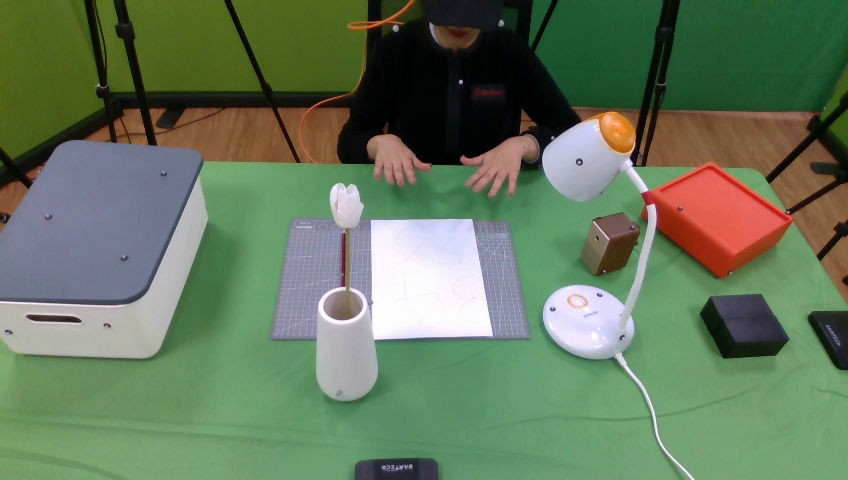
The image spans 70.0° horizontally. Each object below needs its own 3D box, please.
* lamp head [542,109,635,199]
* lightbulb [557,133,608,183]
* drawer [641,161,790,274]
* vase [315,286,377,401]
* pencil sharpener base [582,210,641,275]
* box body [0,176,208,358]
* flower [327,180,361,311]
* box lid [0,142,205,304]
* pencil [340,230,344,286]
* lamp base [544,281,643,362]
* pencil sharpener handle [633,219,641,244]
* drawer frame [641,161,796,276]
[{"bbox_3d":[0.253,-0.131,0.893,0.113,0.123,0.112,10,66,-24],"label":"lamp head"},{"bbox_3d":[0.243,-0.127,0.917,0.060,0.108,0.059,6,67,-14],"label":"lightbulb"},{"bbox_3d":[0.596,-0.051,1.246,0.194,0.073,0.210,-23,53,-25],"label":"drawer"},{"bbox_3d":[-0.119,0.159,0.911,0.098,0.201,0.097,2,47,-2],"label":"vase"},{"bbox_3d":[0.357,0.005,1.156,0.077,0.107,0.061,-15,48,-18],"label":"pencil sharpener base"},{"bbox_3d":[-0.546,0.017,1.045,0.254,0.161,0.361,2,46,-2],"label":"box body"},{"bbox_3d":[-0.111,0.086,0.867,0.044,0.363,0.038,23,34,36],"label":"flower"},{"bbox_3d":[-0.534,-0.044,0.995,0.263,0.015,0.369,3,45,-3],"label":"box lid"},{"bbox_3d":[-0.154,0.044,1.148,0.012,0.012,0.192,-2,44,-5],"label":"pencil"},{"bbox_3d":[0.303,0.095,1.014,0.161,0.181,0.178,-24,54,-24],"label":"lamp base"},{"bbox_3d":[0.405,-0.015,1.162,0.031,0.068,0.035,-15,45,-18],"label":"pencil sharpener handle"},{"bbox_3d":[0.599,-0.051,1.244,0.202,0.083,0.212,-24,52,-25],"label":"drawer frame"}]
